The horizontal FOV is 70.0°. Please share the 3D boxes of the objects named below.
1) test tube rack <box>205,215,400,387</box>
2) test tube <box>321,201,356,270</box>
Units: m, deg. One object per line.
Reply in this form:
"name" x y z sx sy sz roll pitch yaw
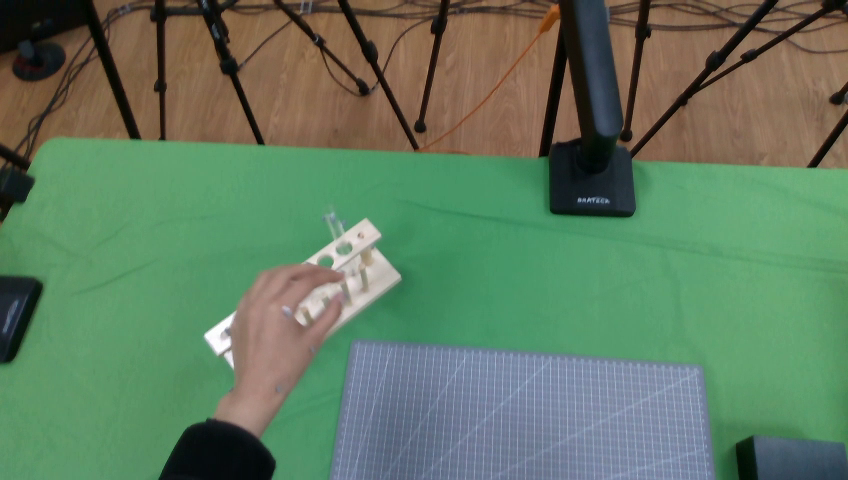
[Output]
"test tube rack" -0.148 0.078 0.780 0.242 0.086 0.066 -37 67 -16
"test tube" -0.106 -0.002 0.764 0.017 0.151 0.017 -2 59 4
